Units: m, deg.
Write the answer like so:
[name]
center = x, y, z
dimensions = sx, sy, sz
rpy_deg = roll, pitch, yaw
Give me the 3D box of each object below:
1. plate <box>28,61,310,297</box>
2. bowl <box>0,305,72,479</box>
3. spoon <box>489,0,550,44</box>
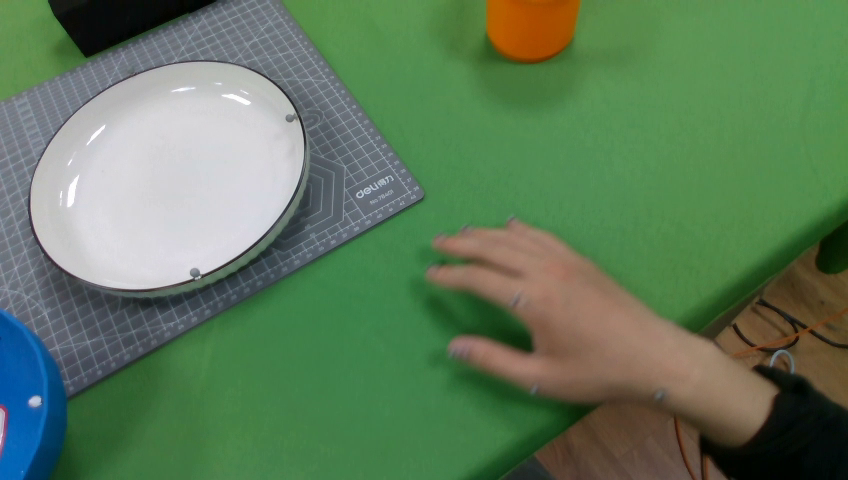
[plate]
center = -0.188, -0.048, 0.464
dimensions = 0.209, 0.038, 0.207
rpy_deg = -1, 62, 3
[bowl]
center = -0.275, 0.116, 0.361
dimensions = 0.151, 0.077, 0.150
rpy_deg = -1, 66, 2
[spoon]
center = 0.123, -0.233, 0.481
dimensions = 0.022, 0.194, 0.041
rpy_deg = 0, 54, -48
